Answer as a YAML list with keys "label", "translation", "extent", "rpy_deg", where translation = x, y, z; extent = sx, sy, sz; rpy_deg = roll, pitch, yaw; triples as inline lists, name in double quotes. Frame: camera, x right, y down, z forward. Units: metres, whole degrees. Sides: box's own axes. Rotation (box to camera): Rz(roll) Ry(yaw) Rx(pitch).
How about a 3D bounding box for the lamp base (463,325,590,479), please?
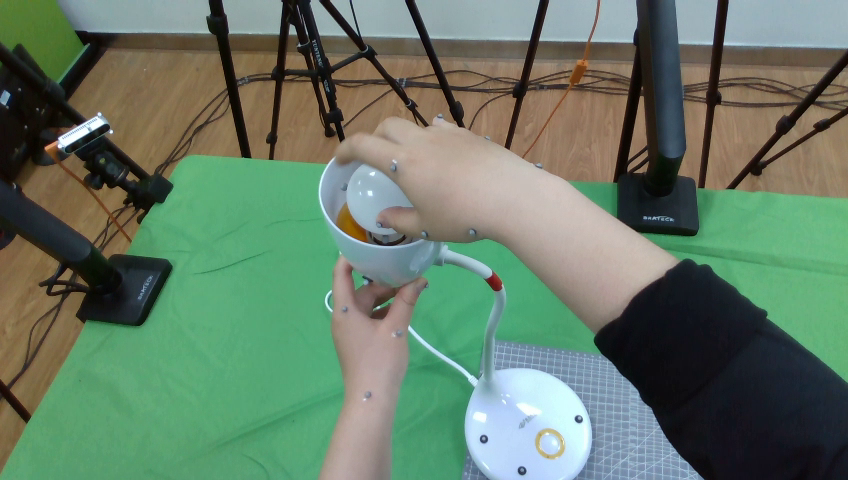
- label: "lamp base"
  translation: [0.111, 0.181, 0.720]
  extent: [0.177, 0.182, 0.160]
  rpy_deg: [29, 62, 28]

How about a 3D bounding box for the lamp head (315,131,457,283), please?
- label: "lamp head"
  translation: [-0.026, -0.014, 0.521]
  extent: [0.112, 0.124, 0.111]
  rpy_deg: [-2, 57, 4]

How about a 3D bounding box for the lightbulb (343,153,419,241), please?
- label: "lightbulb"
  translation: [-0.033, -0.026, 0.494]
  extent: [0.059, 0.108, 0.059]
  rpy_deg: [0, 62, 0]
